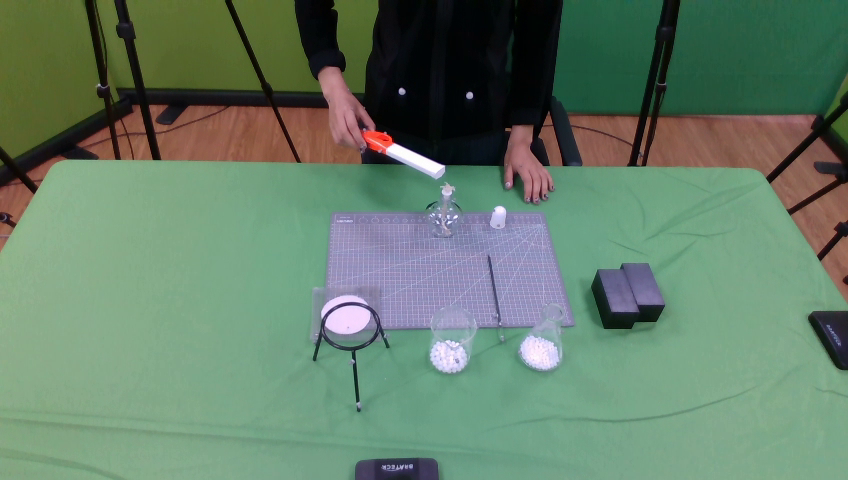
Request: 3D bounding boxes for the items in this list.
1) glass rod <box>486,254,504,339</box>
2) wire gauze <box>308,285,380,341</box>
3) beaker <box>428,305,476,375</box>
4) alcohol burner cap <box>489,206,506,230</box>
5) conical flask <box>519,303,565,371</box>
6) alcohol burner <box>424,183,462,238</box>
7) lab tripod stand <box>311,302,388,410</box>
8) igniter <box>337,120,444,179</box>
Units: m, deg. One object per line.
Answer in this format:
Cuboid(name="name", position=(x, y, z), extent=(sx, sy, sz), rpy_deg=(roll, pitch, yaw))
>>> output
Cuboid(name="glass rod", position=(0.129, 0.099, 1.119), extent=(0.008, 0.008, 0.198), rpy_deg=(-1, 47, -4))
Cuboid(name="wire gauze", position=(-0.141, 0.128, 1.071), extent=(0.125, 0.011, 0.120), rpy_deg=(-1, 46, -5))
Cuboid(name="beaker", position=(0.044, 0.168, 0.987), extent=(0.074, 0.101, 0.083), rpy_deg=(1, 47, -3))
Cuboid(name="alcohol burner cap", position=(0.152, -0.047, 1.241), extent=(0.034, 0.048, 0.033), rpy_deg=(2, 45, -2))
Cuboid(name="conical flask", position=(0.201, 0.155, 0.997), extent=(0.075, 0.122, 0.075), rpy_deg=(2, 46, -2))
Cuboid(name="alcohol burner", position=(0.039, -0.063, 1.197), extent=(0.078, 0.119, 0.077), rpy_deg=(2, 44, -2))
Cuboid(name="lab tripod stand", position=(-0.113, 0.168, 0.951), extent=(0.148, 0.132, 0.147), rpy_deg=(2, 44, -2))
Cuboid(name="igniter", position=(-0.075, -0.185, 1.207), extent=(0.275, 0.025, 0.057), rpy_deg=(29, 50, 30))
